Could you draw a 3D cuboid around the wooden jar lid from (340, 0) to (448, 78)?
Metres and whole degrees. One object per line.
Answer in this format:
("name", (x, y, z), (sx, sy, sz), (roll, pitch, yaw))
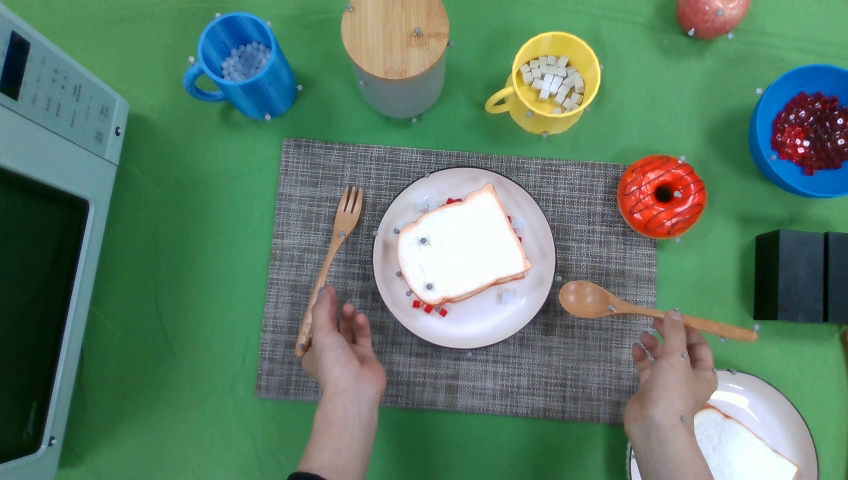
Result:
("wooden jar lid", (-0.031, -0.213, 0.613), (0.108, 0.021, 0.108), (0, 81, 0))

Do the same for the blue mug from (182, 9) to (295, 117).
("blue mug", (-0.212, -0.190, 0.681), (0.116, 0.106, 0.082), (-21, 83, -3))

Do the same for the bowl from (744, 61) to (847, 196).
("bowl", (0.430, -0.117, 0.692), (0.151, 0.077, 0.151), (0, 83, 0))

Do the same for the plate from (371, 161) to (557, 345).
("plate", (0.045, 0.015, 0.690), (0.208, 0.039, 0.207), (0, 83, 0))

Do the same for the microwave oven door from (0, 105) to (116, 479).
("microwave oven door", (-0.394, 0.066, 0.563), (0.039, 0.244, 0.354), (7, 83, 1))

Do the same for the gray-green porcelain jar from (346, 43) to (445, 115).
("gray-green porcelain jar", (-0.030, -0.204, 0.675), (0.106, 0.127, 0.105), (0, 82, 0))

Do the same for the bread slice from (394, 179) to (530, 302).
("bread slice", (0.036, 0.009, 0.665), (0.134, 0.018, 0.106), (-27, 81, -4))

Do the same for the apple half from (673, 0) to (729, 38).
("apple half", (0.314, -0.267, 0.710), (0.033, 0.081, 0.081), (-28, 83, -8))

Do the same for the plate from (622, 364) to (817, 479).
("plate", (0.320, 0.241, 0.668), (0.209, 0.038, 0.208), (0, 83, 0))

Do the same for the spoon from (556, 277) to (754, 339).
("spoon", (0.229, 0.073, 0.619), (0.192, 0.022, 0.041), (11, 70, 33))

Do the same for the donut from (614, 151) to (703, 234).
("donut", (0.268, -0.054, 0.697), (0.099, 0.048, 0.099), (0, 84, -1))

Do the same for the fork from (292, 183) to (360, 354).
("fork", (-0.110, 0.027, 0.679), (0.028, 0.019, 0.206), (13, 67, 9))

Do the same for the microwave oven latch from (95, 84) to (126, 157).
("microwave oven latch", (-0.363, -0.137, 0.689), (0.030, 0.029, 0.079), (10, 84, 0))

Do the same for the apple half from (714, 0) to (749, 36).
("apple half", (0.347, -0.286, 0.715), (0.053, 0.075, 0.080), (-28, 80, -9))

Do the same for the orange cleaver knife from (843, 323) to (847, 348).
("orange cleaver knife", (0.513, 0.188, 0.686), (0.077, 0.012, 0.210), (6, 82, -6))

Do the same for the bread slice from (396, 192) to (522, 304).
("bread slice", (0.035, 0.015, 0.692), (0.131, 0.019, 0.104), (-23, 85, -5))

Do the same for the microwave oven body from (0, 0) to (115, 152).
("microwave oven body", (-0.533, 0.005, 0.574), (0.326, 0.260, 0.440), (8, 84, 0))

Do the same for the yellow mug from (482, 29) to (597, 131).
("yellow mug", (0.129, -0.179, 0.704), (0.131, 0.064, 0.099), (-19, 84, -2))
